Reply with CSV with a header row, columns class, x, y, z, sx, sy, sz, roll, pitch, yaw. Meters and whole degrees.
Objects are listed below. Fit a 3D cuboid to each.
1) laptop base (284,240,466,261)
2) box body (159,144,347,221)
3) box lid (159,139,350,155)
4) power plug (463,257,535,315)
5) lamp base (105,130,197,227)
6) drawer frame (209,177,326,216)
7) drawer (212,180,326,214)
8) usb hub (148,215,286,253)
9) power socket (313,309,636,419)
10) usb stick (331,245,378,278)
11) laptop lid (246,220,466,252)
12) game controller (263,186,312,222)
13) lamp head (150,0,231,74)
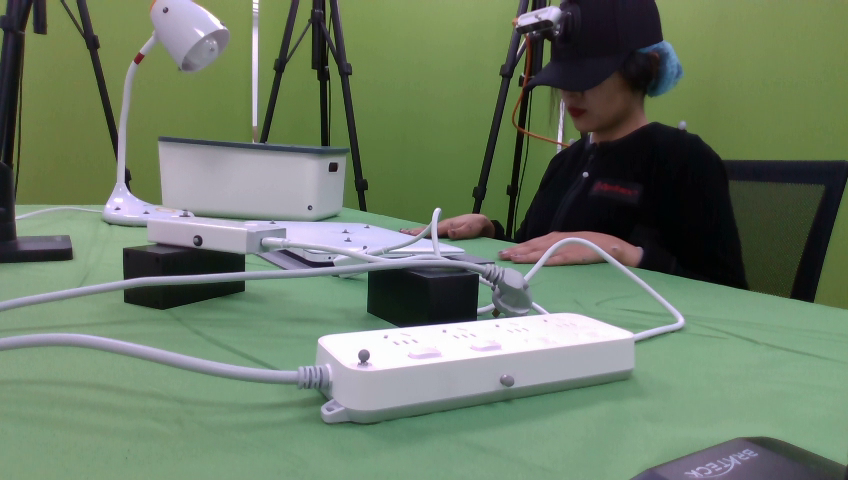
class,x,y,z,sx,sy,sz,roll,pitch,yaw
laptop base,-0.125,0.002,0.945,0.237,0.023,0.352,2,6,-31
box body,-0.384,-0.137,1.406,0.364,0.160,0.254,3,8,8
box lid,-0.373,-0.214,1.388,0.371,0.015,0.263,4,9,7
power plug,0.064,0.039,0.530,0.072,0.052,0.035,31,43,7
lamp base,-0.532,-0.120,1.153,0.179,0.180,0.161,1,7,8
drawer frame,-0.351,-0.103,1.393,0.213,0.082,0.201,1,7,3
drawer,-0.349,-0.103,1.395,0.212,0.073,0.194,2,6,4
usb hub,-0.197,-0.006,0.575,0.125,0.025,0.050,6,6,22
power socket,0.039,0.072,0.385,0.228,0.032,0.072,-2,7,-28
usb stick,-0.085,0.026,0.702,0.059,0.027,0.021,-18,20,27
laptop lid,-0.123,-0.009,0.945,0.243,0.013,0.355,1,7,-29
game controller,-0.308,-0.089,1.397,0.097,0.051,0.155,31,6,-3
lamp head,-0.432,-0.374,1.086,0.123,0.112,0.112,42,8,-2
